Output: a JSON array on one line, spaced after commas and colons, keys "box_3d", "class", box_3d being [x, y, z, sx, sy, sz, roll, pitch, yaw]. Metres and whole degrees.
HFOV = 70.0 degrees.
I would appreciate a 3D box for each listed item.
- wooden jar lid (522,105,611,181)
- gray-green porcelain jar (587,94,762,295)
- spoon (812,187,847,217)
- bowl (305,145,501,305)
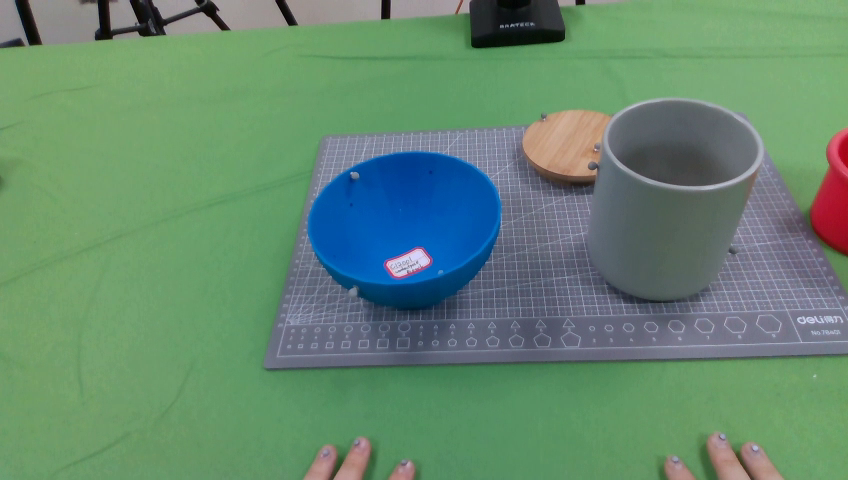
[{"box_3d": [0.151, -0.096, 0.602, 0.108, 0.021, 0.107, -4, 45, 4], "class": "wooden jar lid"}, {"box_3d": [0.180, -0.028, 0.460, 0.106, 0.128, 0.105, -4, 46, 4], "class": "gray-green porcelain jar"}, {"box_3d": [0.392, -0.048, 0.445, 0.022, 0.193, 0.041, 52, 56, -10], "class": "spoon"}, {"box_3d": [-0.013, 0.000, 0.490, 0.151, 0.077, 0.150, -3, 47, 4], "class": "bowl"}]
